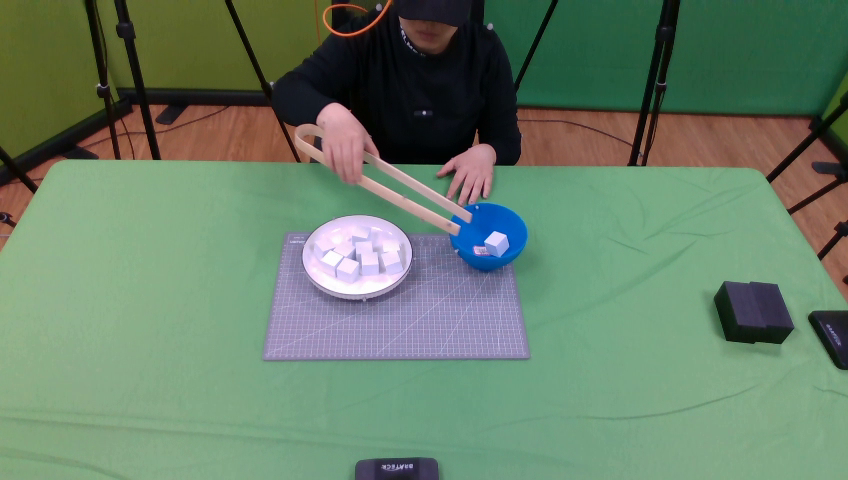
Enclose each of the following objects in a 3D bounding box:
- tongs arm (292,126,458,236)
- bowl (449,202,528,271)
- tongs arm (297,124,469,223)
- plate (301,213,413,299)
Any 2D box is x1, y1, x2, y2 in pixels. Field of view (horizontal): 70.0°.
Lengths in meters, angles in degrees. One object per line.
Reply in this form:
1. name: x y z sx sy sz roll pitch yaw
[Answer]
1. tongs arm: -0.096 -0.115 1.128 0.384 0.026 0.050 28 49 13
2. bowl: 0.118 0.006 1.160 0.151 0.077 0.150 2 46 -2
3. tongs arm: -0.082 -0.130 1.145 0.386 0.028 0.028 30 53 16
4. plate: -0.124 0.033 1.143 0.208 0.039 0.206 2 46 -2
